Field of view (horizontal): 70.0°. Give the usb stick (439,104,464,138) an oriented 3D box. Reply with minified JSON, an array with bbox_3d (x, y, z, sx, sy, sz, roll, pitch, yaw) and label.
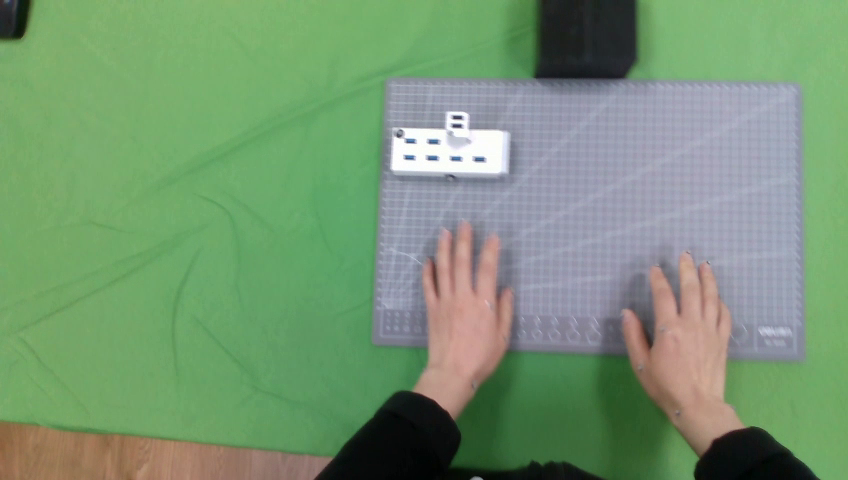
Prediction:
[{"bbox_3d":[0.027,-0.120,0.626,0.021,0.059,0.027,3,86,-3],"label":"usb stick"}]

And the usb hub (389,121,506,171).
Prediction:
[{"bbox_3d":[0.025,-0.102,0.654,0.125,0.025,0.049,2,85,3],"label":"usb hub"}]
